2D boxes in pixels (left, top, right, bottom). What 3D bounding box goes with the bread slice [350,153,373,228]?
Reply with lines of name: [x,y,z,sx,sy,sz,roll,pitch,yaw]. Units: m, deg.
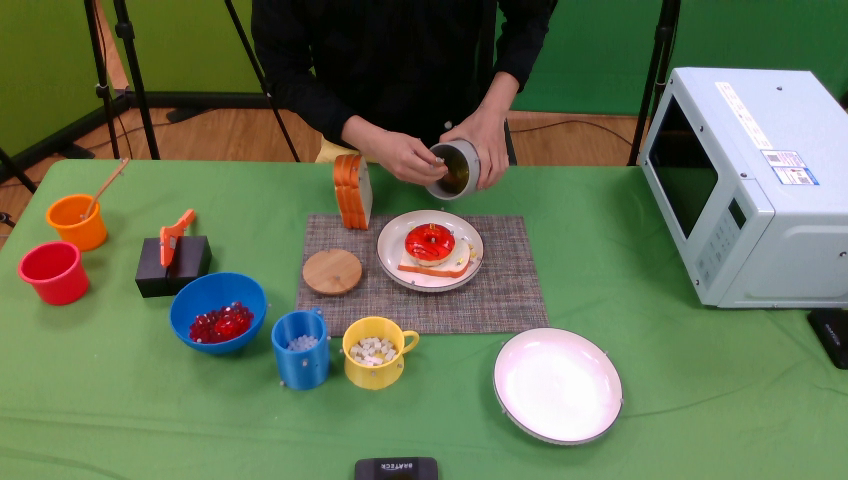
bread slice: [-0.125,-0.104,1.207,0.018,0.135,0.106,0,48,7]

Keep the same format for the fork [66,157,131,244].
fork: [-0.608,-0.074,1.132,0.207,0.019,0.028,-52,49,10]

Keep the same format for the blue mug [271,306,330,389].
blue mug: [-0.188,0.163,0.969,0.082,0.106,0.116,15,47,10]

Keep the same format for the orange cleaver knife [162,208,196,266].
orange cleaver knife: [-0.454,-0.010,1.129,0.012,0.077,0.210,-1,17,-6]

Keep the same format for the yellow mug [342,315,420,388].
yellow mug: [-0.068,0.177,0.990,0.131,0.064,0.099,-15,50,-19]

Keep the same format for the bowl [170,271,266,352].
bowl: [-0.333,0.132,1.006,0.151,0.077,0.150,2,46,-2]

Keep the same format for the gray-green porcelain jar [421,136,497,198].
gray-green porcelain jar: [0.071,-0.139,1.136,0.105,0.106,0.126,29,26,22]

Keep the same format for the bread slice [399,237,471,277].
bread slice: [0.026,0.024,1.160,0.131,0.019,0.104,8,47,7]

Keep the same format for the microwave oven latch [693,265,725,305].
microwave oven latch: [0.522,0.081,1.115,0.030,0.029,0.078,2,46,-1]

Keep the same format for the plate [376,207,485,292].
plate: [0.012,0.021,1.159,0.209,0.038,0.208,2,47,-2]

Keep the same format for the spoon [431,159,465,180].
spoon: [0.038,-0.130,1.090,0.041,0.194,0.021,4,87,15]

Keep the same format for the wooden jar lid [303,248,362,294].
wooden jar lid: [-0.169,0.060,1.122,0.108,0.021,0.107,2,45,-2]

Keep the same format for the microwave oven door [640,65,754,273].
microwave oven door: [0.522,-0.147,1.193,0.039,0.245,0.353,0,47,-3]

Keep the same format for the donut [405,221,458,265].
donut: [0.014,0.004,1.137,0.099,0.048,0.098,0,46,0]

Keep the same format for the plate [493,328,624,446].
plate: [0.213,0.236,0.974,0.208,0.039,0.206,2,46,-2]

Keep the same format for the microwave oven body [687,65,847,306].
microwave oven body: [0.669,-0.111,1.176,0.326,0.261,0.439,0,46,-3]
